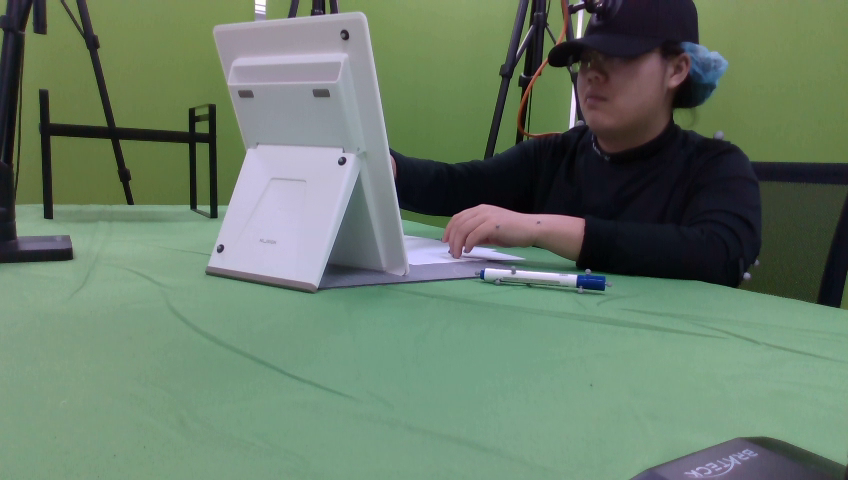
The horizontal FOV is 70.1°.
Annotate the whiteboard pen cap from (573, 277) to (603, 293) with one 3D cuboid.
[{"bbox_3d":[0.186,0.051,0.687,0.033,0.018,0.018,4,8,17],"label":"whiteboard pen cap"}]

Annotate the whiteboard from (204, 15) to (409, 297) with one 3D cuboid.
[{"bbox_3d":[-0.166,-0.072,0.668,0.216,0.305,0.144,8,30,30],"label":"whiteboard"}]

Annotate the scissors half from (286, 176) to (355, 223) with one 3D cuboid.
[{"bbox_3d":[-0.229,-0.091,1.337,0.175,0.013,0.040,33,14,-13],"label":"scissors half"}]

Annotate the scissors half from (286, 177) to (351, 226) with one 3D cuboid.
[{"bbox_3d":[-0.232,-0.085,1.317,0.175,0.013,0.040,38,19,5],"label":"scissors half"}]

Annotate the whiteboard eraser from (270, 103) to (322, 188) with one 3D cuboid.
[{"bbox_3d":[-0.174,-0.122,0.807,0.055,0.112,0.042,34,45,9],"label":"whiteboard eraser"}]

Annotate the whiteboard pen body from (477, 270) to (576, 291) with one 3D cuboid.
[{"bbox_3d":[0.131,0.048,0.706,0.140,0.017,0.017,4,7,18],"label":"whiteboard pen body"}]
